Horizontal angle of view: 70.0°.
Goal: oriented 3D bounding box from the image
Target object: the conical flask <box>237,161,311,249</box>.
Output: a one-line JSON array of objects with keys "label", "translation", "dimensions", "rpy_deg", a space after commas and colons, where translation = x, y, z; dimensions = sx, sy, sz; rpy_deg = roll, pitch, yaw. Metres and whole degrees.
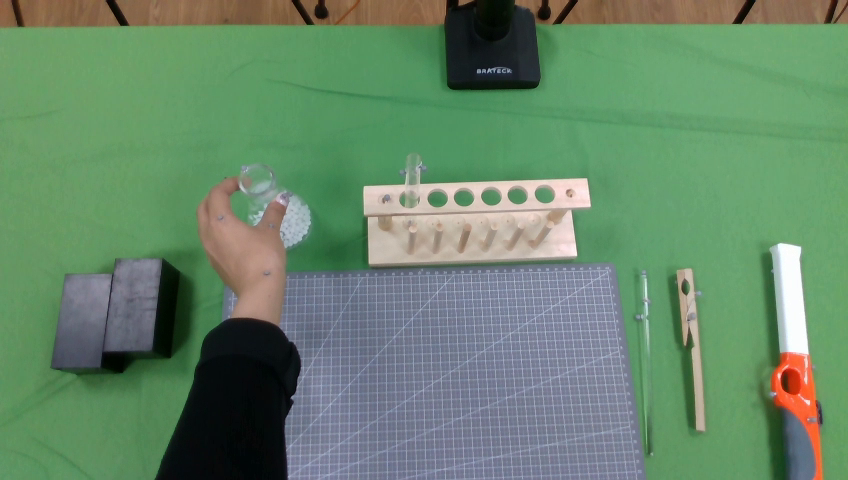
[{"label": "conical flask", "translation": [-0.169, -0.042, 0.660], "dimensions": [0.075, 0.122, 0.075], "rpy_deg": [1, 71, -1]}]

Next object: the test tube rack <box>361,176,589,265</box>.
[{"label": "test tube rack", "translation": [0.055, -0.020, 0.679], "dimensions": [0.242, 0.085, 0.066], "rpy_deg": [-2, 71, -3]}]

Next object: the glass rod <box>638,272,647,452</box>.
[{"label": "glass rod", "translation": [0.244, 0.132, 0.675], "dimensions": [0.008, 0.008, 0.198], "rpy_deg": [5, 73, 0]}]

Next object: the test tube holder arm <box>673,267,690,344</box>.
[{"label": "test tube holder arm", "translation": [0.296, 0.075, 0.692], "dimensions": [0.010, 0.015, 0.087], "rpy_deg": [-13, 68, 35]}]

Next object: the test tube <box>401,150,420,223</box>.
[{"label": "test tube", "translation": [-0.015, -0.051, 0.635], "dimensions": [0.017, 0.151, 0.017], "rpy_deg": [1, 69, -3]}]

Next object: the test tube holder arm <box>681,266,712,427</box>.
[{"label": "test tube holder arm", "translation": [0.302, 0.116, 0.675], "dimensions": [0.013, 0.015, 0.177], "rpy_deg": [-15, 67, 34]}]

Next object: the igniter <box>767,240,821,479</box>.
[{"label": "igniter", "translation": [0.406, 0.133, 0.669], "dimensions": [0.057, 0.025, 0.275], "rpy_deg": [9, 72, -9]}]

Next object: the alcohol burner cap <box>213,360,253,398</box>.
[{"label": "alcohol burner cap", "translation": [-0.180, 0.128, 0.566], "dimensions": [0.034, 0.048, 0.033], "rpy_deg": [2, 67, -5]}]

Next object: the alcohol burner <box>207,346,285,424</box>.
[{"label": "alcohol burner", "translation": [-0.181, 0.141, 0.600], "dimensions": [0.078, 0.120, 0.077], "rpy_deg": [0, 70, 1]}]
